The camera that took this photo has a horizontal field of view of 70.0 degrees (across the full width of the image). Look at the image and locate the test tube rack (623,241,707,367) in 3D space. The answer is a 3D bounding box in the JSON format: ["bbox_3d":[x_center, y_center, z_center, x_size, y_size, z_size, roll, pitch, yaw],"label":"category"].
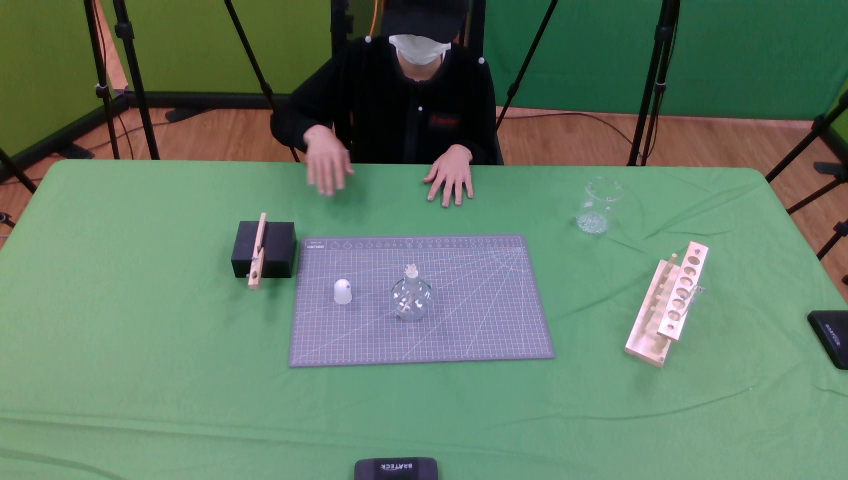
[{"bbox_3d":[0.435,0.104,1.089,0.066,0.085,0.242,24,49,18],"label":"test tube rack"}]

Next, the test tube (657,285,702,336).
[{"bbox_3d":[0.418,0.121,1.000,0.017,0.151,0.017,3,51,-4],"label":"test tube"}]

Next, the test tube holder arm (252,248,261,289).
[{"bbox_3d":[-0.294,0.049,1.066,0.010,0.015,0.087,4,45,-14],"label":"test tube holder arm"}]

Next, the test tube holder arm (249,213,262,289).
[{"bbox_3d":[-0.305,0.016,1.096,0.013,0.015,0.177,4,45,-15],"label":"test tube holder arm"}]

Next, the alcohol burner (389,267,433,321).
[{"bbox_3d":[-0.022,0.085,1.046,0.078,0.119,0.077,2,48,-2],"label":"alcohol burner"}]

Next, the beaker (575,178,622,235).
[{"bbox_3d":[0.356,-0.068,1.240,0.084,0.101,0.073,-18,50,-21],"label":"beaker"}]

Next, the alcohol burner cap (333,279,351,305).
[{"bbox_3d":[-0.147,0.090,1.083,0.034,0.048,0.033,2,46,-2],"label":"alcohol burner cap"}]
